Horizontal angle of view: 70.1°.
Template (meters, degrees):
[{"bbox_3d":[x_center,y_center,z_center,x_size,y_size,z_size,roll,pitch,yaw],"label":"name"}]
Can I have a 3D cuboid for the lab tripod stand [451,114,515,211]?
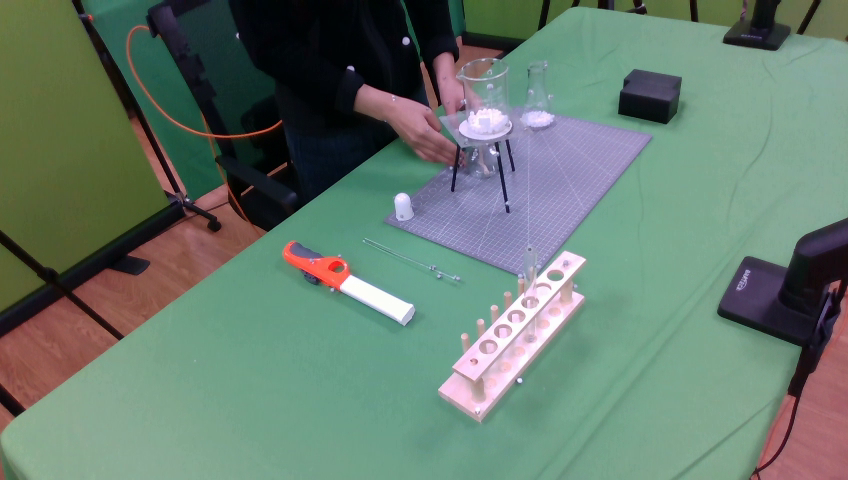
[{"bbox_3d":[0.113,-0.140,1.037,0.148,0.132,0.147,-6,38,5],"label":"lab tripod stand"}]

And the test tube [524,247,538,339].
[{"bbox_3d":[0.133,0.070,0.749,0.017,0.151,0.017,-5,38,4],"label":"test tube"}]

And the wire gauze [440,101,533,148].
[{"bbox_3d":[0.100,-0.189,0.995,0.125,0.011,0.120,-16,37,-6],"label":"wire gauze"}]

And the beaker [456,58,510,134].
[{"bbox_3d":[0.098,-0.226,0.964,0.084,0.101,0.073,-7,39,4],"label":"beaker"}]

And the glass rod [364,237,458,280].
[{"bbox_3d":[-0.026,0.029,0.966,0.198,0.008,0.008,22,49,35],"label":"glass rod"}]

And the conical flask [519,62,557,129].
[{"bbox_3d":[0.225,-0.288,1.198,0.075,0.122,0.075,-6,40,5],"label":"conical flask"}]

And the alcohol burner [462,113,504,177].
[{"bbox_3d":[0.106,-0.175,1.095,0.078,0.119,0.077,-5,38,4],"label":"alcohol burner"}]

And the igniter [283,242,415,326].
[{"bbox_3d":[-0.126,0.062,0.931,0.274,0.025,0.057,24,61,33],"label":"igniter"}]

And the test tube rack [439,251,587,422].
[{"bbox_3d":[0.118,0.111,0.780,0.066,0.085,0.243,26,51,35],"label":"test tube rack"}]

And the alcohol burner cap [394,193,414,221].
[{"bbox_3d":[-0.036,-0.059,1.040,0.034,0.048,0.033,-5,41,5],"label":"alcohol burner cap"}]
